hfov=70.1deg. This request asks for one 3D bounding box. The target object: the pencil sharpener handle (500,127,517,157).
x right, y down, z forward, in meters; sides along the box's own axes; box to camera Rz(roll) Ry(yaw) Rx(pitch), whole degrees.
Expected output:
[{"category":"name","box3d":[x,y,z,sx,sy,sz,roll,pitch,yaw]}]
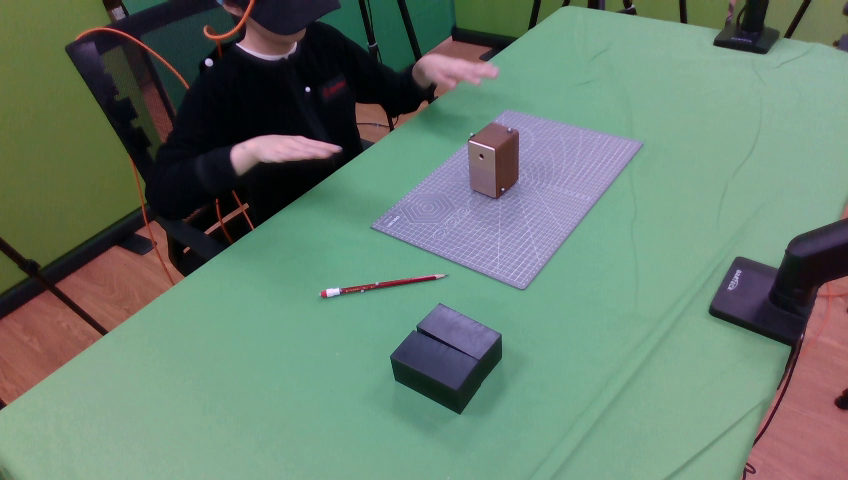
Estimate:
[{"category":"pencil sharpener handle","box3d":[0.154,-0.178,1.072,0.036,0.068,0.031,36,55,20]}]

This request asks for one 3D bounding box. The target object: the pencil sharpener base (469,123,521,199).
[{"category":"pencil sharpener base","box3d":[0.126,-0.138,1.050,0.061,0.107,0.077,24,50,33]}]

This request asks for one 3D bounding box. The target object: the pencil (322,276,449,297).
[{"category":"pencil","box3d":[-0.058,0.069,0.916,0.194,0.012,0.012,-8,40,-2]}]
